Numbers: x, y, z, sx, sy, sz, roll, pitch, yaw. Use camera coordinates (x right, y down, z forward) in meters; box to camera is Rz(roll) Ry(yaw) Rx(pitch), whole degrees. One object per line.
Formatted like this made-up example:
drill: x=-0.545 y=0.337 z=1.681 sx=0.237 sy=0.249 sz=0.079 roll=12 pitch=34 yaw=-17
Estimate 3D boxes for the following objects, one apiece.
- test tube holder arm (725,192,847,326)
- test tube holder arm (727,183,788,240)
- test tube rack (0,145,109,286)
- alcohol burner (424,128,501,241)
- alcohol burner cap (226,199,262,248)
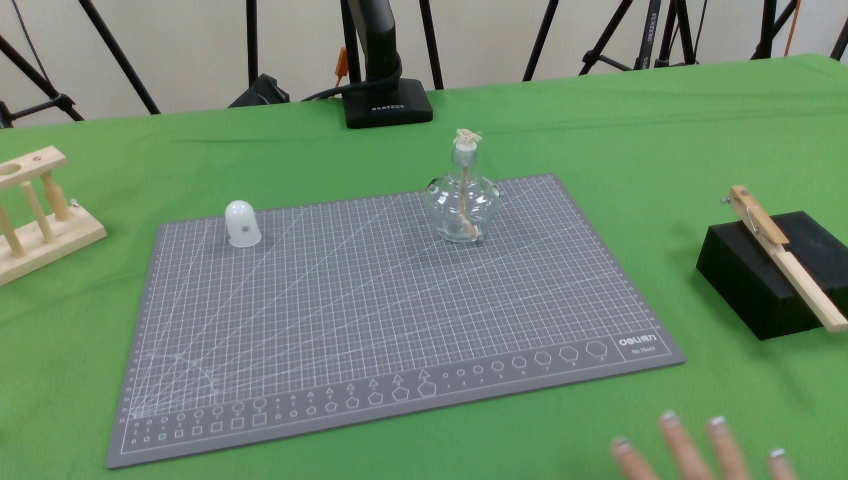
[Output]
test tube holder arm: x=0.303 y=0.008 z=0.518 sx=0.015 sy=0.013 sz=0.176 roll=-2 pitch=39 yaw=-2
test tube holder arm: x=0.301 y=-0.025 z=0.549 sx=0.015 sy=0.010 sz=0.087 roll=-2 pitch=39 yaw=-2
test tube rack: x=-0.440 y=0.004 z=0.564 sx=0.066 sy=0.086 sz=0.242 roll=31 pitch=48 yaw=33
alcohol burner: x=0.039 y=-0.059 z=0.604 sx=0.078 sy=0.120 sz=0.077 roll=1 pitch=39 yaw=0
alcohol burner cap: x=-0.185 y=-0.019 z=0.617 sx=0.034 sy=0.048 sz=0.033 roll=-1 pitch=39 yaw=1
